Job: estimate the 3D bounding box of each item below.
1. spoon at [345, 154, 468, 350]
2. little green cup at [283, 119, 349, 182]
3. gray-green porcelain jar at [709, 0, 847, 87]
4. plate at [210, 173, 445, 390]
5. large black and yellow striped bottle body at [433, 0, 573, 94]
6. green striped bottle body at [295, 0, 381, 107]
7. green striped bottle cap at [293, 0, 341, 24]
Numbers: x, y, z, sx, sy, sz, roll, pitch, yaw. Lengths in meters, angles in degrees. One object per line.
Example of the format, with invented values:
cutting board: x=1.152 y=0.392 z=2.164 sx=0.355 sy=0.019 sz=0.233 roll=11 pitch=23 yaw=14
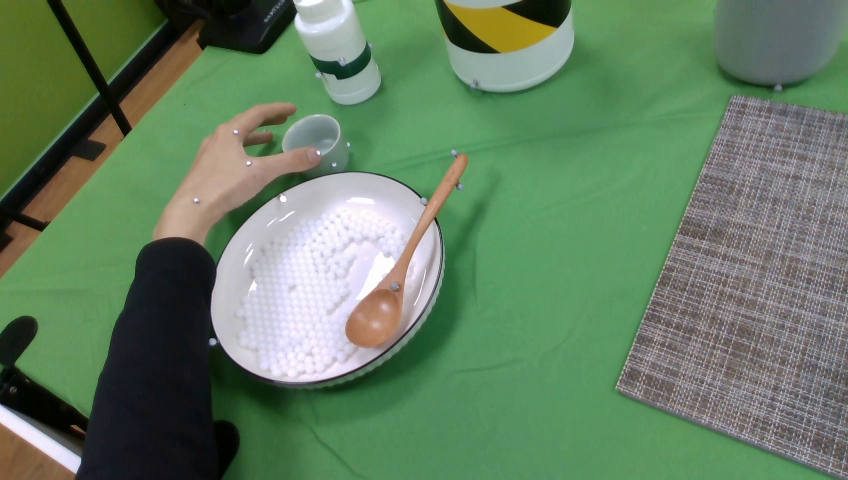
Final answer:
spoon: x=-0.007 y=0.005 z=0.500 sx=0.041 sy=0.022 sz=0.193 roll=21 pitch=73 yaw=26
little green cup: x=-0.107 y=-0.088 z=0.612 sx=0.061 sy=0.039 sz=0.061 roll=-8 pitch=54 yaw=12
gray-green porcelain jar: x=0.304 y=-0.204 z=0.514 sx=0.105 sy=0.128 sz=0.105 roll=-8 pitch=55 yaw=11
plate: x=-0.080 y=0.033 z=0.523 sx=0.209 sy=0.038 sz=0.207 roll=-8 pitch=55 yaw=12
large black and yellow striped bottle body: x=0.071 y=-0.247 z=0.575 sx=0.130 sy=0.186 sz=0.129 roll=-8 pitch=55 yaw=12
green striped bottle body: x=-0.092 y=-0.202 z=0.632 sx=0.063 sy=0.120 sz=0.062 roll=-8 pitch=55 yaw=12
green striped bottle cap: x=-0.104 y=-0.231 z=0.591 sx=0.044 sy=0.020 sz=0.044 roll=-6 pitch=59 yaw=10
